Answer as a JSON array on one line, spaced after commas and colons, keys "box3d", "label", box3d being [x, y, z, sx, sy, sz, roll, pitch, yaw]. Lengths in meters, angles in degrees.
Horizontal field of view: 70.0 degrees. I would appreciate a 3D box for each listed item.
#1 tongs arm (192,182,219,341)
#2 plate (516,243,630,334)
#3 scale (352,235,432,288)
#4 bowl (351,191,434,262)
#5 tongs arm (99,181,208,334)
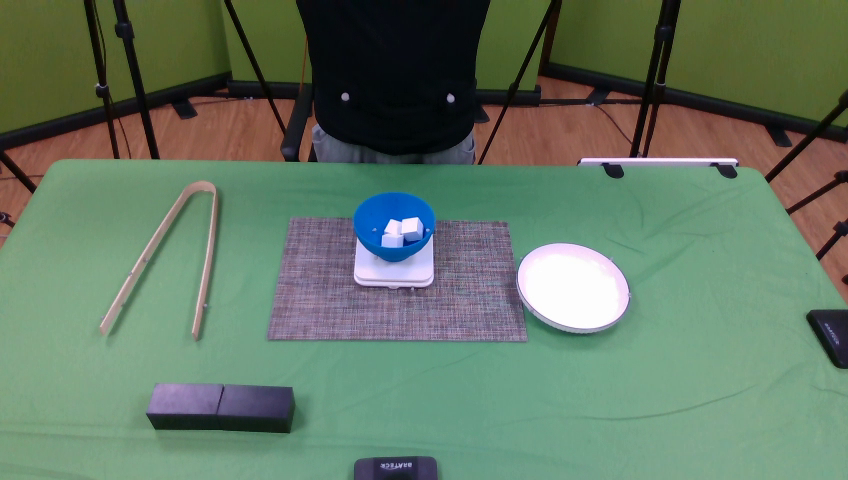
[{"box3d": [-0.412, 0.025, 1.139, 0.028, 0.028, 0.385, -5, 47, -7], "label": "tongs arm"}, {"box3d": [0.272, 0.092, 1.120, 0.208, 0.039, 0.206, 2, 46, -2], "label": "plate"}, {"box3d": [-0.060, 0.010, 1.171, 0.149, 0.032, 0.199, 2, 46, -3], "label": "scale"}, {"box3d": [-0.057, -0.013, 1.120, 0.151, 0.077, 0.150, 1, 46, -1], "label": "bowl"}, {"box3d": [-0.493, 0.018, 1.132, 0.051, 0.026, 0.382, 7, 45, 0], "label": "tongs arm"}]
